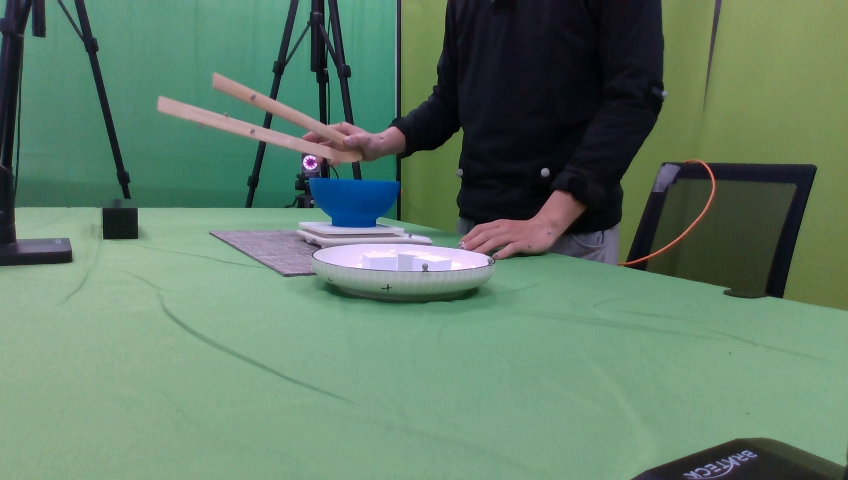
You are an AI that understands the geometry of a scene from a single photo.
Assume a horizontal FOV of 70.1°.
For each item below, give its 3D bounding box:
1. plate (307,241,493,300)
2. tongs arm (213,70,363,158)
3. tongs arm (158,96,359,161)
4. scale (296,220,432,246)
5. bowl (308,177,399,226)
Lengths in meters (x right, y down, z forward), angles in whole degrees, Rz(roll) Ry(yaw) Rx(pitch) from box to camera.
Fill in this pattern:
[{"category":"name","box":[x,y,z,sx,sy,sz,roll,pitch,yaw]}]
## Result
[{"category":"plate","box":[-0.027,0.034,0.684,0.208,0.039,0.207,2,7,0]},{"category":"tongs arm","box":[-0.209,-0.204,1.028,0.028,0.027,0.389,-14,-14,26]},{"category":"tongs arm","box":[-0.271,-0.193,1.071,0.050,0.026,0.387,-13,-15,38]},{"category":"scale","box":[-0.101,-0.012,1.017,0.202,0.031,0.148,-1,8,-30]},{"category":"bowl","box":[-0.116,-0.064,1.001,0.151,0.077,0.151,2,6,0]}]
